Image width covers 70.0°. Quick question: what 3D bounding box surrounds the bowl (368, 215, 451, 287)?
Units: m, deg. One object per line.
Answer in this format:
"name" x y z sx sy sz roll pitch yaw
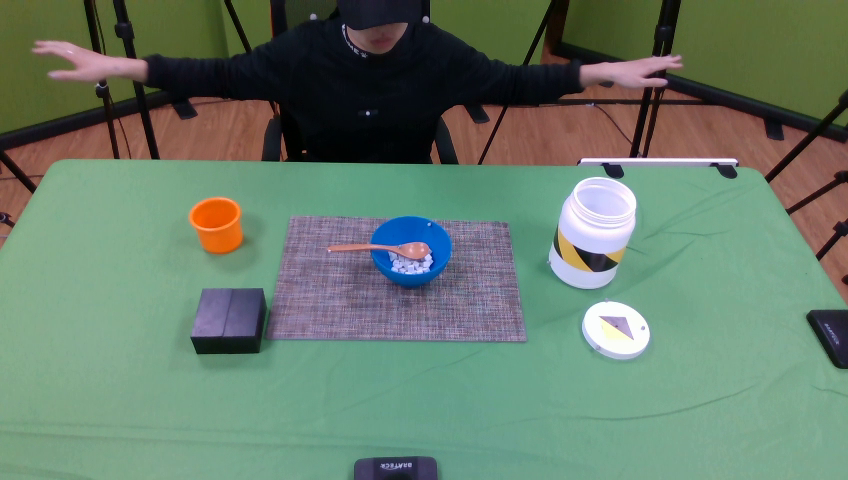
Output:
"bowl" -0.027 0.033 1.119 0.151 0.077 0.150 2 46 -2

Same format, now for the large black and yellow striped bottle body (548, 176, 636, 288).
"large black and yellow striped bottle body" 0.311 -0.014 1.123 0.131 0.185 0.130 2 46 -2

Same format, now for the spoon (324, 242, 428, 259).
"spoon" -0.083 0.015 1.085 0.194 0.022 0.041 4 46 -26

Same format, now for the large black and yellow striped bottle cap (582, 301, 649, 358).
"large black and yellow striped bottle cap" 0.340 0.157 1.077 0.115 0.019 0.114 1 47 -1
